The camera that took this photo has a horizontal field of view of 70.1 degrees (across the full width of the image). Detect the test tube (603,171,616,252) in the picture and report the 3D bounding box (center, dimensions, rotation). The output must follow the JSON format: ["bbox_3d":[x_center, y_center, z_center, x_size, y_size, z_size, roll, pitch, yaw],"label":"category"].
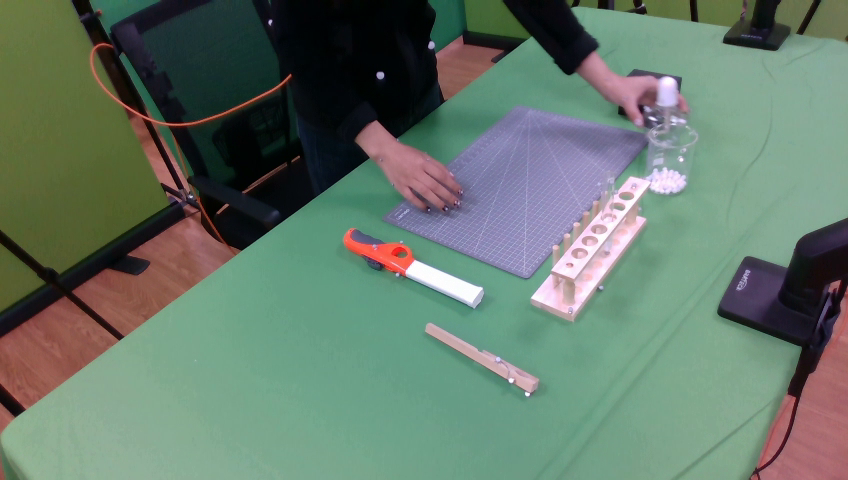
[{"bbox_3d":[0.259,-0.036,0.848,0.017,0.151,0.017,-8,46,9],"label":"test tube"}]

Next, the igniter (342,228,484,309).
[{"bbox_3d":[-0.027,0.039,0.936,0.274,0.025,0.057,23,60,33],"label":"igniter"}]

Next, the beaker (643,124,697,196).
[{"bbox_3d":[0.407,-0.132,1.001,0.084,0.101,0.073,-20,42,-13],"label":"beaker"}]

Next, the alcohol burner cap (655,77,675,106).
[{"bbox_3d":[0.409,-0.253,1.028,0.034,0.048,0.033,-11,33,8],"label":"alcohol burner cap"}]

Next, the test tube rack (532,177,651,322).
[{"bbox_3d":[0.247,0.002,0.883,0.066,0.085,0.243,22,49,32],"label":"test tube rack"}]

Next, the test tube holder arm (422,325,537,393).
[{"bbox_3d":[0.068,0.152,0.789,0.177,0.015,0.013,23,15,32],"label":"test tube holder arm"}]

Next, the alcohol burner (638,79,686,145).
[{"bbox_3d":[0.415,-0.226,1.050,0.078,0.119,0.077,-6,40,5],"label":"alcohol burner"}]

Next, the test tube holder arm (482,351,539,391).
[{"bbox_3d":[0.106,0.166,0.769,0.087,0.015,0.010,24,15,34],"label":"test tube holder arm"}]
